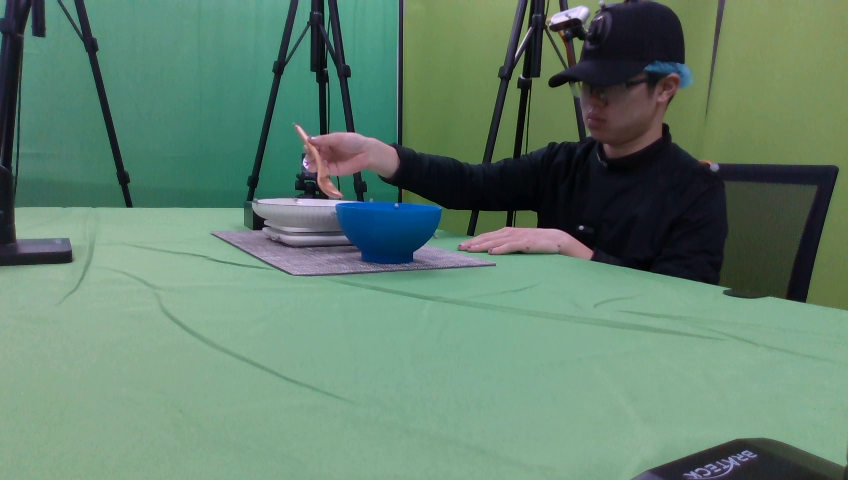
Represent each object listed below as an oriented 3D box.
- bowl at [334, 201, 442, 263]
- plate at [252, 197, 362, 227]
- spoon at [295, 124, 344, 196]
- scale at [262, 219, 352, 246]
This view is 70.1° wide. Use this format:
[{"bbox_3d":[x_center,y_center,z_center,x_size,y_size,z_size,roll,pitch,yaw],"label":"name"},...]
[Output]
[{"bbox_3d":[-0.051,-0.012,0.849,0.151,0.077,0.151,2,7,0],"label":"bowl"},{"bbox_3d":[-0.178,-0.047,1.012,0.209,0.038,0.209,2,6,0],"label":"plate"},{"bbox_3d":[-0.178,-0.136,1.011,0.042,0.021,0.193,18,35,-48],"label":"spoon"},{"bbox_3d":[-0.160,-0.015,1.027,0.202,0.031,0.148,-2,8,-32],"label":"scale"}]
